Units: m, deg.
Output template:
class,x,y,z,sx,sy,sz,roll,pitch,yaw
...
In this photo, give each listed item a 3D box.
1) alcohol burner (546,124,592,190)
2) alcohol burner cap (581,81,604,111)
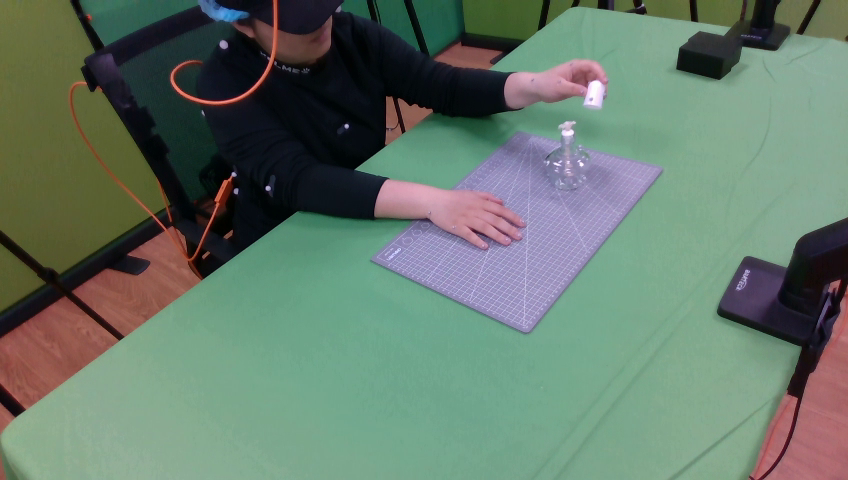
class,x,y,z,sx,sy,sz,roll,pitch,yaw
alcohol burner,0.247,-0.146,1.035,0.078,0.120,0.077,-7,41,6
alcohol burner cap,0.285,-0.243,1.015,0.034,0.048,0.034,11,3,0
